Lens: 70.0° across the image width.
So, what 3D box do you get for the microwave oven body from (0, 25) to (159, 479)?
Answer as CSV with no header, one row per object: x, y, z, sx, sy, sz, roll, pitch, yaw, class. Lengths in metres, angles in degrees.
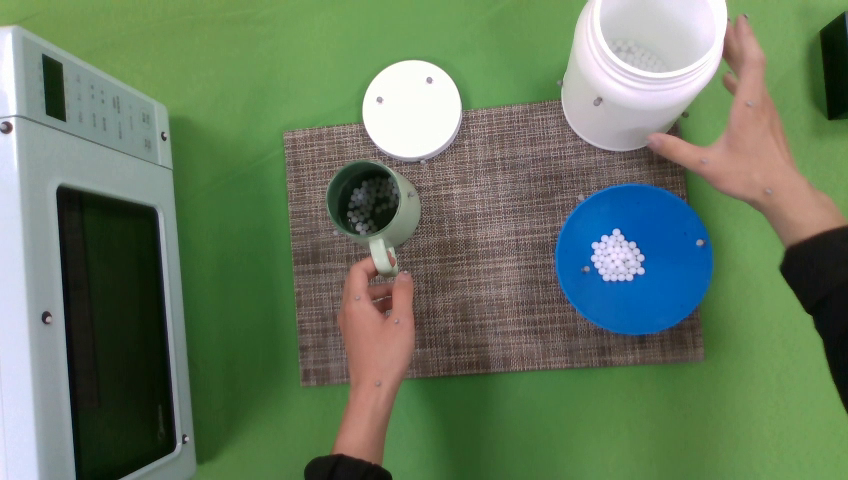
-0.454,0.064,0.613,0.326,0.261,0.441,-7,87,6,microwave oven body

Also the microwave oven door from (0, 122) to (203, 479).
-0.305,0.088,0.590,0.039,0.244,0.355,-8,86,7,microwave oven door

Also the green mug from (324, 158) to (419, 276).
-0.052,-0.023,0.649,0.092,0.105,0.125,-15,85,5,green mug

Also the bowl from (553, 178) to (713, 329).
0.208,0.015,0.631,0.151,0.077,0.151,0,87,8,bowl

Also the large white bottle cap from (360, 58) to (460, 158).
-0.016,-0.151,0.694,0.114,0.018,0.114,-1,83,7,large white bottle cap

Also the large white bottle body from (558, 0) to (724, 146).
0.203,-0.178,0.588,0.130,0.185,0.130,-1,83,7,large white bottle body

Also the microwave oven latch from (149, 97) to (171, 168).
-0.316,-0.123,0.704,0.030,0.029,0.079,-7,87,6,microwave oven latch
